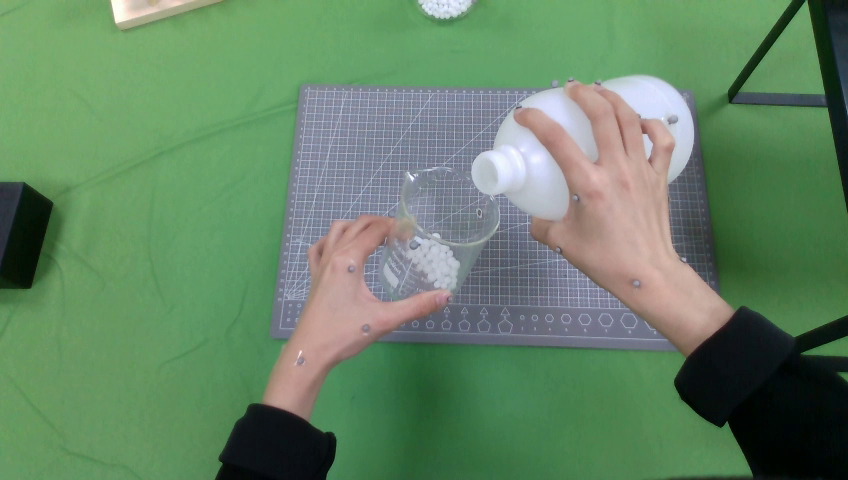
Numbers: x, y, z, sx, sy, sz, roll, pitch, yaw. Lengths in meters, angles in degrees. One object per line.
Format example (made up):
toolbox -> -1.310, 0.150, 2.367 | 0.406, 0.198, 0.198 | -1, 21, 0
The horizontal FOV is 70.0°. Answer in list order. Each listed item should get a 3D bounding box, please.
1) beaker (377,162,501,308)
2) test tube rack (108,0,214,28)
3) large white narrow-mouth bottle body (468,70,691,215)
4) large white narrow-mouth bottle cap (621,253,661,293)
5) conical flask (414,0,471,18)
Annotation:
beaker -> 0.004, -0.001, 0.468 | 0.083, 0.101, 0.074 | 42, 52, 15
test tube rack -> -0.273, -0.341, 0.724 | 0.242, 0.086, 0.066 | -19, 70, -5
large white narrow-mouth bottle body -> 0.114, -0.072, 0.468 | 0.195, 0.102, 0.101 | -19, 67, -35
large white narrow-mouth bottle cap -> 0.217, 0.034, 0.607 | 0.038, 0.024, 0.037 | -1, 71, 3
conical flask -> 0.021, -0.321, 0.690 | 0.075, 0.122, 0.075 | -1, 69, 2
